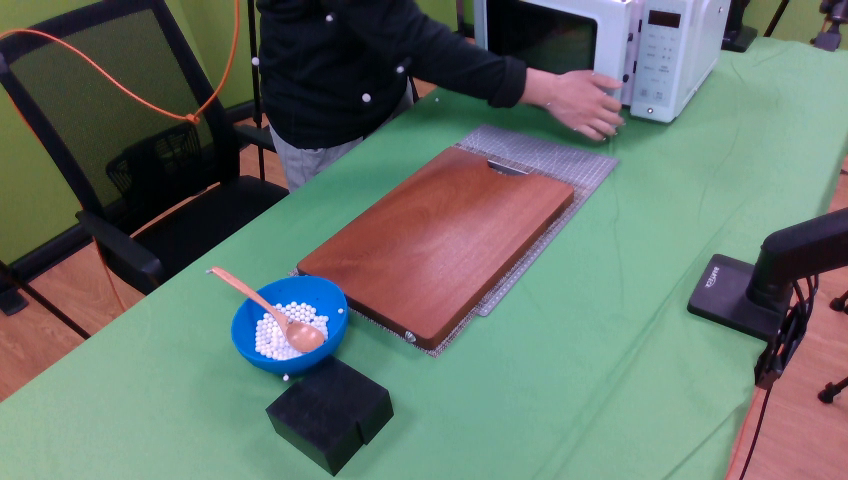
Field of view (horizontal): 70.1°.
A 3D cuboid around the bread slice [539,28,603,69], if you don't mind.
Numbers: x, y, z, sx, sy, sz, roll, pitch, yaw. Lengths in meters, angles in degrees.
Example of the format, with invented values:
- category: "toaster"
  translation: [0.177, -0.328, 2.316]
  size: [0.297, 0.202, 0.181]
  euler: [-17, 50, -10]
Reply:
- category: "bread slice"
  translation: [0.330, -0.427, 1.341]
  size: [0.104, 0.019, 0.131]
  euler: [19, 59, 41]

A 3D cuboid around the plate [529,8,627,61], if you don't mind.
- category: "plate"
  translation: [0.337, -0.446, 1.329]
  size: [0.207, 0.039, 0.206]
  euler: [-6, 44, 6]

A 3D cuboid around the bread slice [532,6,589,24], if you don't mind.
- category: "bread slice"
  translation: [0.292, -0.477, 1.278]
  size: [0.106, 0.018, 0.134]
  euler: [5, 29, 19]

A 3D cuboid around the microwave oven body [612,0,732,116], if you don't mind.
- category: "microwave oven body"
  translation: [0.377, -0.462, 1.267]
  size: [0.438, 0.261, 0.327]
  euler: [21, 48, 30]

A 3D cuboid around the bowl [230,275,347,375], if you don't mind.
- category: "bowl"
  translation: [-0.171, 0.125, 0.802]
  size: [0.151, 0.077, 0.150]
  euler: [-4, 40, 4]

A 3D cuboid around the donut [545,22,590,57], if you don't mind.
- category: "donut"
  translation: [0.308, -0.433, 1.298]
  size: [0.099, 0.048, 0.098]
  euler: [-23, 34, 17]

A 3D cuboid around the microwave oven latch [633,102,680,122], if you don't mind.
- category: "microwave oven latch"
  translation: [0.443, -0.249, 1.157]
  size: [0.078, 0.029, 0.030]
  euler: [21, 49, 30]

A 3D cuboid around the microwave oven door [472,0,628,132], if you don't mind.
- category: "microwave oven door"
  translation: [0.232, -0.376, 1.180]
  size: [0.039, 0.245, 0.352]
  euler: [-34, 47, -27]

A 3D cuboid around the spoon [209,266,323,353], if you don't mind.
- category: "spoon"
  translation: [-0.213, 0.087, 0.806]
  size: [0.193, 0.021, 0.042]
  euler: [37, 56, 11]
